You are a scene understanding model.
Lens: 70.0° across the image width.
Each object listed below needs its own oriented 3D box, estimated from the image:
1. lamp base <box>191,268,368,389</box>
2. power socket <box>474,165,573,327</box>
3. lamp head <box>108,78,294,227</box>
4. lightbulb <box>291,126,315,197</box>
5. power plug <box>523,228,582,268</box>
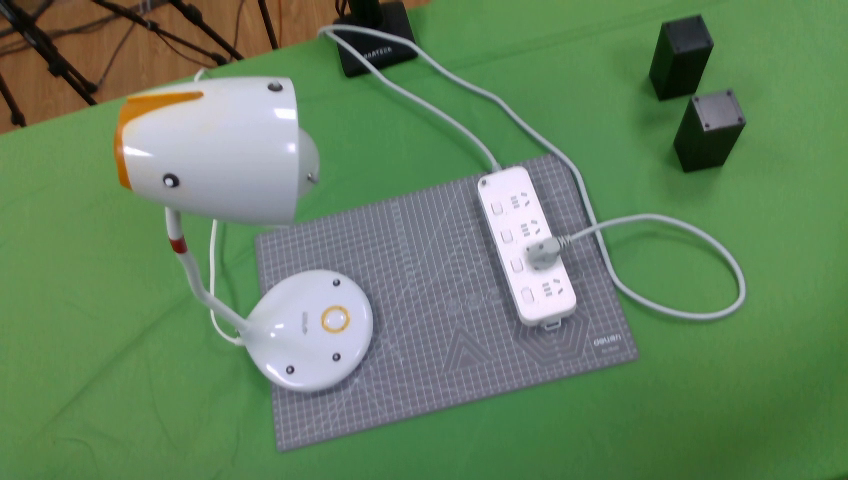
[{"bbox_3d":[-0.174,0.085,0.708,0.179,0.182,0.159,-20,65,3],"label":"lamp base"},{"bbox_3d":[0.124,0.002,0.778,0.072,0.033,0.224,-17,65,1],"label":"power socket"},{"bbox_3d":[-0.160,-0.062,0.443,0.123,0.113,0.111,-4,64,-17],"label":"lamp head"},{"bbox_3d":[-0.134,-0.061,0.444,0.108,0.059,0.059,6,65,-19],"label":"lightbulb"},{"bbox_3d":[0.158,0.014,0.746,0.072,0.053,0.035,-6,68,3],"label":"power plug"}]
